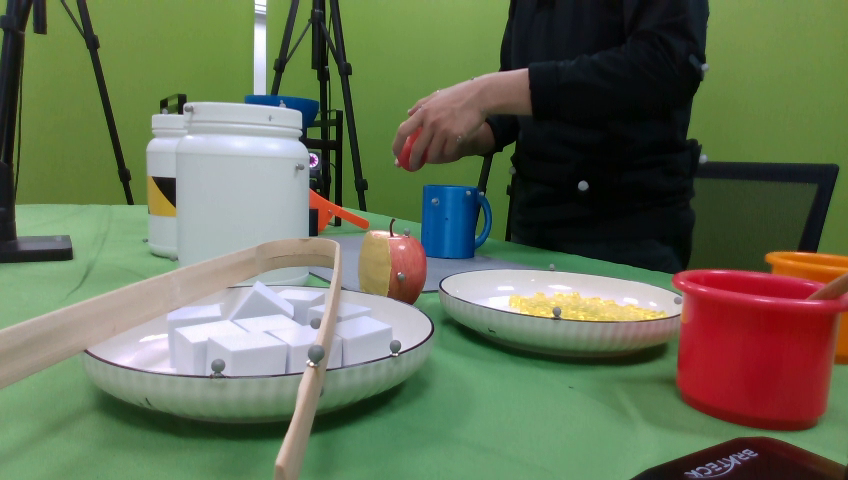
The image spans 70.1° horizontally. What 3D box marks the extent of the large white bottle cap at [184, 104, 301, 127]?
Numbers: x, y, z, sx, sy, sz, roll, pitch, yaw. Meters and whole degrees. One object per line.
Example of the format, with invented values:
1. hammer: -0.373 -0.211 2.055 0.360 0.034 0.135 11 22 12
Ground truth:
1. large white bottle cap: -0.184 -0.126 0.618 0.115 0.018 0.115 2 8 0

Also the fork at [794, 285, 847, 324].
1. fork: 0.332 0.018 0.443 0.028 0.018 0.207 -1 -36 -15

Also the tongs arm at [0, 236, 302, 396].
1. tongs arm: -0.158 0.039 0.351 0.028 0.028 0.388 -3 8 12

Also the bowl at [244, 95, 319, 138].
1. bowl: -0.293 -0.251 1.249 0.151 0.077 0.151 2 7 0

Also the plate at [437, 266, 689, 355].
1. plate: 0.114 0.057 0.517 0.209 0.038 0.209 3 8 0

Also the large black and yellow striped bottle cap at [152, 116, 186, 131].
1. large black and yellow striped bottle cap: -0.309 -0.155 0.826 0.115 0.019 0.115 3 6 0

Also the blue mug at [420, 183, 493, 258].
1. blue mug: 0.052 -0.032 0.912 0.117 0.106 0.082 -1 8 -24

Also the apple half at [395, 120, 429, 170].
1. apple half: -0.010 -0.148 0.941 0.032 0.081 0.081 -2 4 33

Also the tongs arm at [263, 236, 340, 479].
1. tongs arm: -0.074 0.040 0.349 0.051 0.026 0.384 -2 9 -3

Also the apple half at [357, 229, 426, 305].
1. apple half: -0.026 0.028 0.570 0.053 0.074 0.080 3 2 -28

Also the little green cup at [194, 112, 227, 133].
1. little green cup: -0.412 -0.228 1.171 0.061 0.038 0.061 2 8 0

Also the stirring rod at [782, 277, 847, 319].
1. stirring rod: 0.344 0.019 0.460 0.014 0.006 0.176 -13 -27 -30

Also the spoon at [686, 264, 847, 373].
1. spoon: 0.214 0.032 0.328 0.042 0.021 0.193 -3 -35 -26

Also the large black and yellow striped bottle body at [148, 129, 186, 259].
1. large black and yellow striped bottle body: -0.310 -0.073 0.838 0.131 0.184 0.130 2 8 0

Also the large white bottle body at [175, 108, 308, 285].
1. large white bottle body: -0.188 -0.042 0.630 0.131 0.184 0.130 2 8 0

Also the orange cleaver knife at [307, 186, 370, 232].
1. orange cleaver knife: -0.197 -0.056 1.141 0.212 0.077 0.012 29 0 -34

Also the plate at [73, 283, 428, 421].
1. plate: -0.102 0.066 0.381 0.208 0.039 0.207 2 7 0
